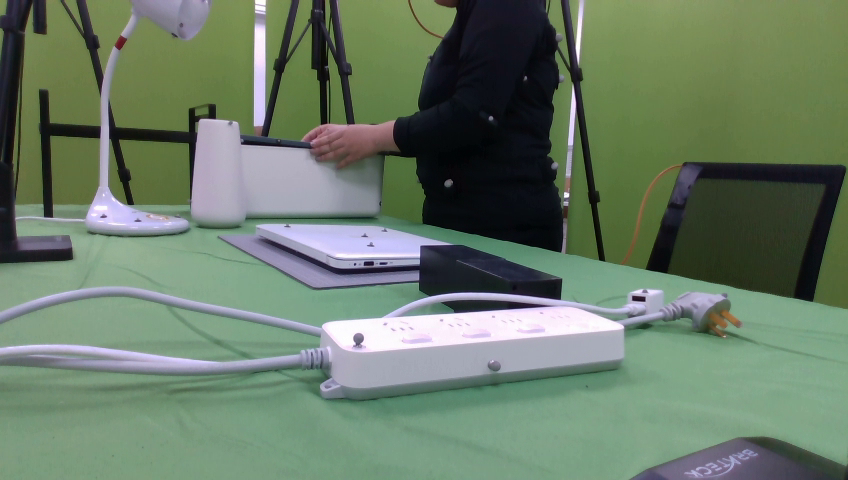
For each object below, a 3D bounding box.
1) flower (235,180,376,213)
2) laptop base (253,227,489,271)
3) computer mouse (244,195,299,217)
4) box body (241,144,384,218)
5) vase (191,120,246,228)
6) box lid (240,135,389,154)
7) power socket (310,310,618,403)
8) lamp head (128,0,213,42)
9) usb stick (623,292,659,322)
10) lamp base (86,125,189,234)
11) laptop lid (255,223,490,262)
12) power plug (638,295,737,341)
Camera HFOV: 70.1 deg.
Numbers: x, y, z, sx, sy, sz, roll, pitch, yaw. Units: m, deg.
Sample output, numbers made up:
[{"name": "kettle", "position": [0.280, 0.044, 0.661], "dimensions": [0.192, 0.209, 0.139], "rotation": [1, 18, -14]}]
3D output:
[{"name": "flower", "position": [-0.264, -0.092, 1.416], "dimensions": [0.364, 0.038, 0.044], "rotation": [8, -41, -38]}, {"name": "laptop base", "position": [-0.096, 0.012, 0.911], "dimensions": [0.237, 0.023, 0.352], "rotation": [2, 6, -32]}, {"name": "computer mouse", "position": [-0.346, -0.077, 1.372], "dimensions": [0.118, 0.041, 0.062], "rotation": [-11, 18, -33]}, {"name": "box body", "position": [-0.307, -0.145, 1.474], "dimensions": [0.366, 0.160, 0.253], "rotation": [-2, 9, -30]}, {"name": "vase", "position": [-0.389, -0.123, 1.143], "dimensions": [0.098, 0.200, 0.098], "rotation": [2, 9, 0]}, {"name": "box lid", "position": [-0.298, -0.227, 1.464], "dimensions": [0.373, 0.015, 0.262], "rotation": [0, 7, -30]}, {"name": "power socket", "position": [0.033, 0.074, 0.415], "dimensions": [0.228, 0.032, 0.072], "rotation": [-1, 7, -24]}, {"name": "lamp head", "position": [-0.423, -0.394, 0.980], "dimensions": [0.123, 0.112, 0.112], "rotation": [20, 7, -3]}, {"name": "usb stick", "position": [0.211, 0.064, 0.581], "dimensions": [0.021, 0.027, 0.059], "rotation": [0, -3, 36]}, {"name": "lamp base", "position": [-0.497, -0.105, 1.027], "dimensions": [0.179, 0.180, 0.160], "rotation": [1, 7, 2]}, {"name": "laptop lid", "position": [-0.093, 0.000, 0.911], "dimensions": [0.243, 0.013, 0.355], "rotation": [1, 7, -30]}, {"name": "power plug", "position": [0.235, 0.077, 0.535], "dimensions": [0.072, 0.035, 0.052], "rotation": [-34, 40, -5]}]
